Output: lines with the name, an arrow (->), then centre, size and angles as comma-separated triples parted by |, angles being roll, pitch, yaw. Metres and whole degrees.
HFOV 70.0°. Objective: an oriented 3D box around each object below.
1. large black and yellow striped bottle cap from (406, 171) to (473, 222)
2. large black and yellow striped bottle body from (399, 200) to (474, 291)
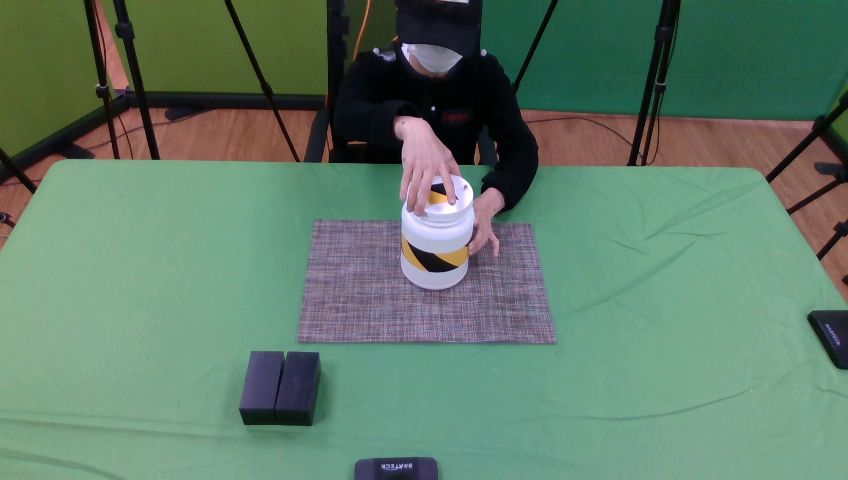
large black and yellow striped bottle cap -> 0.026, -0.076, 1.031 | 0.115, 0.019, 0.114 | 1, 45, -1
large black and yellow striped bottle body -> 0.021, -0.013, 1.095 | 0.131, 0.185, 0.130 | 2, 46, -2
